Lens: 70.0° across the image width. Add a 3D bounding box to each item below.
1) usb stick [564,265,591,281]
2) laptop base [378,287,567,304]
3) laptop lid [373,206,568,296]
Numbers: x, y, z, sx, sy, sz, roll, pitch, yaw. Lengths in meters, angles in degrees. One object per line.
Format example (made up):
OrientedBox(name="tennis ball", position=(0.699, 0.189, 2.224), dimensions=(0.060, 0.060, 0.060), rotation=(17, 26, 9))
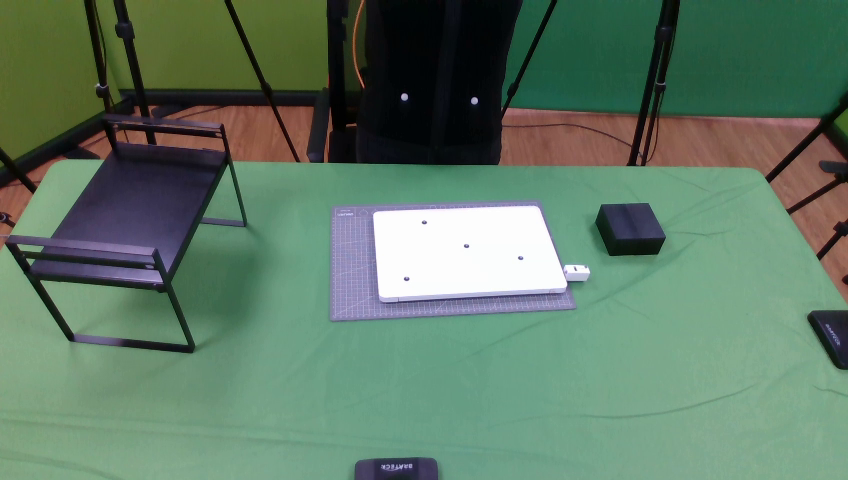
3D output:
OrientedBox(name="usb stick", position=(0.282, 0.062, 1.143), dimensions=(0.059, 0.027, 0.021), rotation=(-2, 45, -6))
OrientedBox(name="laptop base", position=(0.081, 0.024, 1.181), dimensions=(0.355, 0.023, 0.234), rotation=(-3, 43, -6))
OrientedBox(name="laptop lid", position=(0.081, 0.014, 1.174), dimensions=(0.357, 0.013, 0.240), rotation=(-1, 44, -5))
